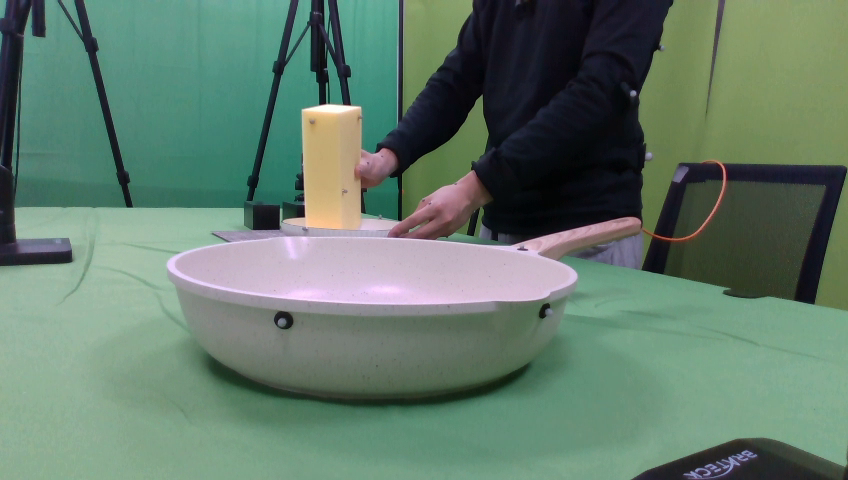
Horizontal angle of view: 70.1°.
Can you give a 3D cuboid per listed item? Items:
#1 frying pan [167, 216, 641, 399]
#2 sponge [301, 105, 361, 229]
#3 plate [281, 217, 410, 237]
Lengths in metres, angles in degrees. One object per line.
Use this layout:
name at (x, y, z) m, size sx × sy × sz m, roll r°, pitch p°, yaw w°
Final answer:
frying pan at (0.046, 0.024, 0.519) m, size 0.490 × 0.102 × 0.305 m, roll -13°, pitch 16°, yaw -37°
sponge at (-0.149, -0.113, 0.990) m, size 0.061 × 0.207 × 0.118 m, roll 4°, pitch 18°, yaw 9°
plate at (-0.126, -0.012, 0.986) m, size 0.208 × 0.039 × 0.207 m, roll 2°, pitch 7°, yaw 0°
